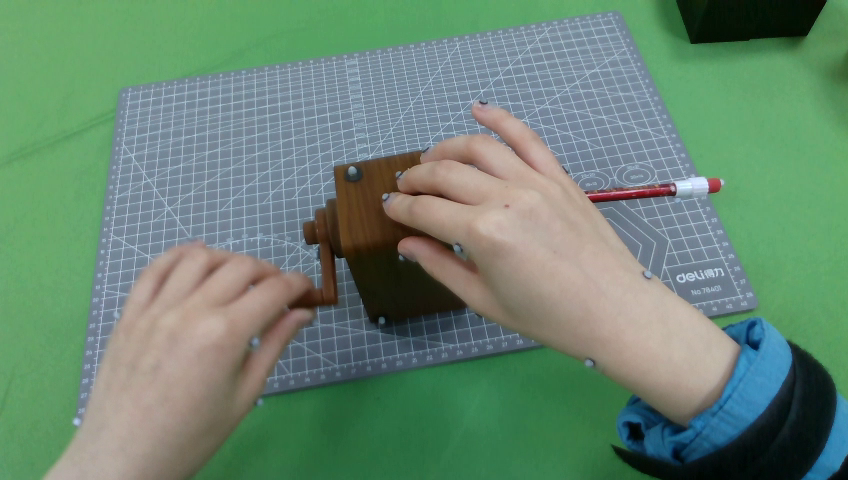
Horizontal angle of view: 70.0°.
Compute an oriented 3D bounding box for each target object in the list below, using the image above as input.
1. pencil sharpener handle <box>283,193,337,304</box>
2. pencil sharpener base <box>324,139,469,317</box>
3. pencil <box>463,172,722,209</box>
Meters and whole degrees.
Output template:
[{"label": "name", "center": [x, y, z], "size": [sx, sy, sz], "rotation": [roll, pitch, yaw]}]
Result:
[{"label": "pencil sharpener handle", "center": [-0.064, 0.005, 0.342], "size": [0.030, 0.036, 0.067], "rotation": [-10, 54, -1]}, {"label": "pencil sharpener base", "center": [-0.014, -0.002, 0.377], "size": [0.077, 0.108, 0.061], "rotation": [-10, 60, -1]}, {"label": "pencil", "center": [0.083, -0.028, 0.360], "size": [0.194, 0.012, 0.012], "rotation": [-5, 60, -4]}]
